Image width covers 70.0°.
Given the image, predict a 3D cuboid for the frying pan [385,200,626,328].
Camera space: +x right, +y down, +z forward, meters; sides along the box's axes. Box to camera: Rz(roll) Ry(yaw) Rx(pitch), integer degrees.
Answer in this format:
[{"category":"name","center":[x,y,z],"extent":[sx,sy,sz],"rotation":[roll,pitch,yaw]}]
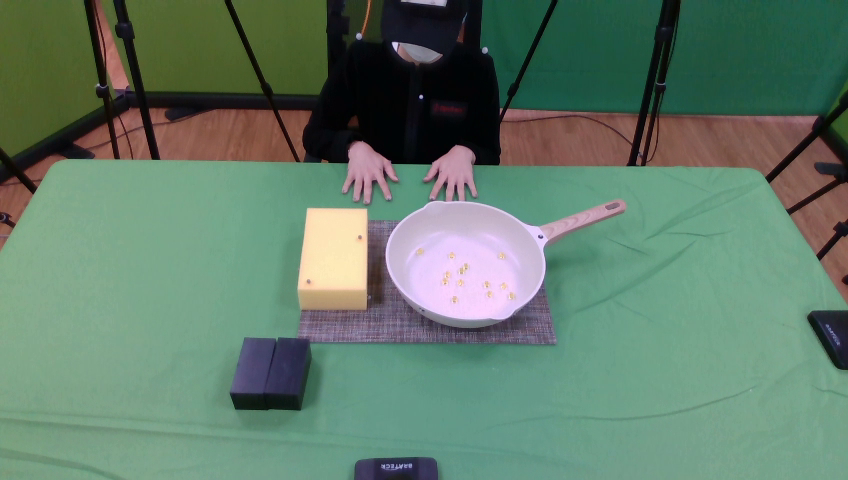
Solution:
[{"category":"frying pan","center":[0.169,0.014,1.137],"extent":[0.488,0.103,0.304],"rotation":[-19,51,-11]}]

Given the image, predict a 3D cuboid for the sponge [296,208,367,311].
[{"category":"sponge","center":[-0.167,0.033,1.123],"extent":[0.118,0.061,0.205],"rotation":[0,46,-5]}]
